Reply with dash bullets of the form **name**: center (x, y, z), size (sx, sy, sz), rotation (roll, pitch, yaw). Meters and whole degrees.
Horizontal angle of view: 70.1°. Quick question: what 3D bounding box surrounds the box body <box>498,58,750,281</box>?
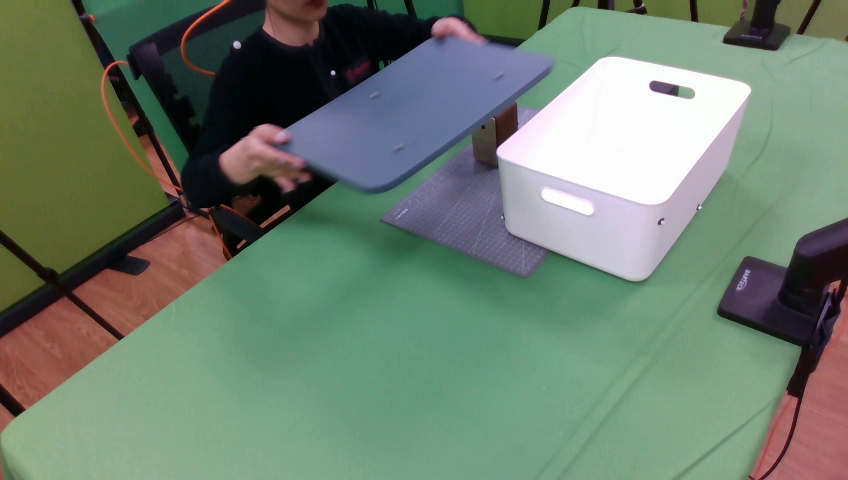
- **box body**: center (0.315, -0.124, 0.958), size (0.252, 0.161, 0.365), rotation (23, 50, 32)

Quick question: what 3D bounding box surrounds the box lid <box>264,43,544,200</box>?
- **box lid**: center (-0.027, -0.193, 0.891), size (0.372, 0.015, 0.261), rotation (-39, 45, -26)

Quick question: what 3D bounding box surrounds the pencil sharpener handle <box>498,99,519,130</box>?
- **pencil sharpener handle**: center (0.165, -0.243, 1.148), size (0.035, 0.068, 0.031), rotation (21, 48, 35)

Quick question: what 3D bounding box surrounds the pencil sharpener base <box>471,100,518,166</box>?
- **pencil sharpener base**: center (0.134, -0.205, 1.128), size (0.061, 0.107, 0.077), rotation (23, 50, 33)
